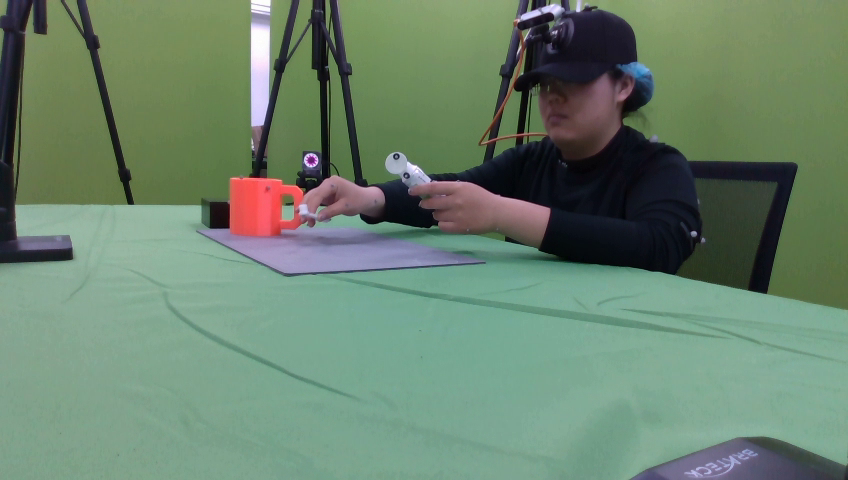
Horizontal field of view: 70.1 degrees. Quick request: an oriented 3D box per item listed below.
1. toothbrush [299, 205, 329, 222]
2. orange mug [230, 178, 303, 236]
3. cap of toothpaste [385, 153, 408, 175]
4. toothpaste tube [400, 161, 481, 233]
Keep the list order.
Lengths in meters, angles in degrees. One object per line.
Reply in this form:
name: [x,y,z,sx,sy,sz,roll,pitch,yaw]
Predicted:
toothbrush: [-0.177,-0.042,0.983,0.014,0.016,0.182,-11,-3,2]
orange mug: [-0.275,-0.060,1.058,0.126,0.101,0.083,-2,8,-5]
cap of toothpaste: [-0.041,-0.117,0.921,0.037,0.037,0.011,0,30,-17]
toothpaste tube: [0.023,-0.067,0.961,0.165,0.034,0.055,41,-10,-14]
